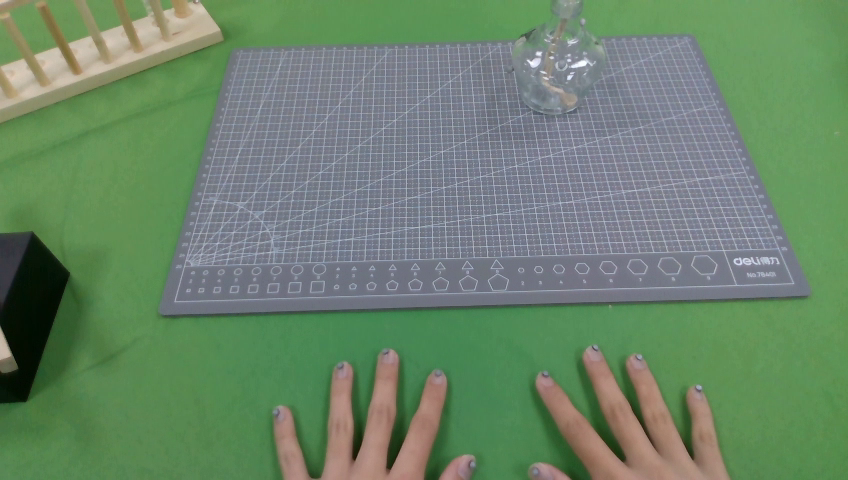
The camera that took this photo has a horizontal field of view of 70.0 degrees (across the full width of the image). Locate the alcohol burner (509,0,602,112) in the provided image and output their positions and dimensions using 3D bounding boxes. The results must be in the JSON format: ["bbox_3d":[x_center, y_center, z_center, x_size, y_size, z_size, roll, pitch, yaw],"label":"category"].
[{"bbox_3d":[0.110,-0.166,0.497,0.078,0.120,0.077,0,52,1],"label":"alcohol burner"}]

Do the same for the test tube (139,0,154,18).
[{"bbox_3d":[-0.272,-0.270,0.543,0.017,0.151,0.017,-2,51,3],"label":"test tube"}]

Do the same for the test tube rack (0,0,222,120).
[{"bbox_3d":[-0.321,-0.194,0.551,0.242,0.086,0.066,-28,57,-18],"label":"test tube rack"}]

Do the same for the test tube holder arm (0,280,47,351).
[{"bbox_3d":[-0.285,0.012,0.381,0.177,0.015,0.013,35,64,25],"label":"test tube holder arm"}]
